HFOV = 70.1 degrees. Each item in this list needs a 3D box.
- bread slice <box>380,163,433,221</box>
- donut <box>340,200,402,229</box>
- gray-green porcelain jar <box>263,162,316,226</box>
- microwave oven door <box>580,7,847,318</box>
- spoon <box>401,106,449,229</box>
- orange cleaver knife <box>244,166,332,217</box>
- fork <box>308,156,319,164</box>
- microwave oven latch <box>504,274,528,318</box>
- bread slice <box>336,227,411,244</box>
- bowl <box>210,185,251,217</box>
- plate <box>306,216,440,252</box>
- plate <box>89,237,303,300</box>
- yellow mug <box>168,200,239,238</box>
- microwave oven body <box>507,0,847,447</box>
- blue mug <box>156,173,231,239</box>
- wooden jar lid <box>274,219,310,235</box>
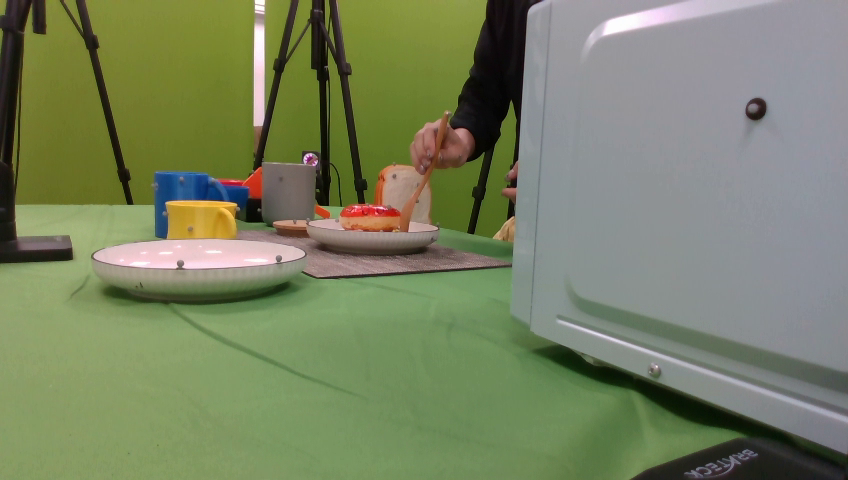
[{"bbox_3d":[-0.035,-0.076,1.124,0.107,0.134,0.018,-3,1,-26],"label":"bread slice"},{"bbox_3d":[-0.081,-0.038,0.944,0.099,0.048,0.099,0,7,0],"label":"donut"},{"bbox_3d":[-0.271,-0.092,1.217,0.106,0.126,0.106,2,7,0],"label":"gray-green porcelain jar"},{"bbox_3d":[0.295,-0.067,0.570,0.358,0.243,0.039,-3,8,-31],"label":"microwave oven door"},{"bbox_3d":[0.002,-0.101,0.880,0.022,0.193,0.041,20,8,-16],"label":"spoon"},{"bbox_3d":[-0.301,-0.089,1.351,0.212,0.077,0.012,32,-11,-34],"label":"orange cleaver knife"},{"bbox_3d":[-0.331,-0.144,1.506,0.207,0.018,0.028,-42,-19,22],"label":"fork"},{"bbox_3d":[0.100,0.041,0.471,0.079,0.029,0.030,-1,8,-28],"label":"microwave oven latch"},{"bbox_3d":[-0.074,-0.008,0.938,0.105,0.019,0.131,0,6,-18],"label":"bread slice"},{"bbox_3d":[-0.408,-0.064,1.155,0.151,0.077,0.151,2,8,0],"label":"bowl"},{"bbox_3d":[-0.079,-0.011,0.950,0.209,0.038,0.209,2,8,0],"label":"plate"},{"bbox_3d":[-0.233,0.029,0.637,0.208,0.039,0.207,2,7,0],"label":"plate"},{"bbox_3d":[-0.320,-0.023,0.904,0.130,0.064,0.100,9,11,36],"label":"yellow mug"},{"bbox_3d":[0.331,-0.042,0.425,0.444,0.260,0.324,-2,8,-31],"label":"microwave oven body"},{"bbox_3d":[-0.381,-0.057,1.004,0.117,0.106,0.082,0,8,-12],"label":"blue mug"},{"bbox_3d":[-0.213,-0.023,1.080,0.108,0.020,0.108,3,7,0],"label":"wooden jar lid"}]
